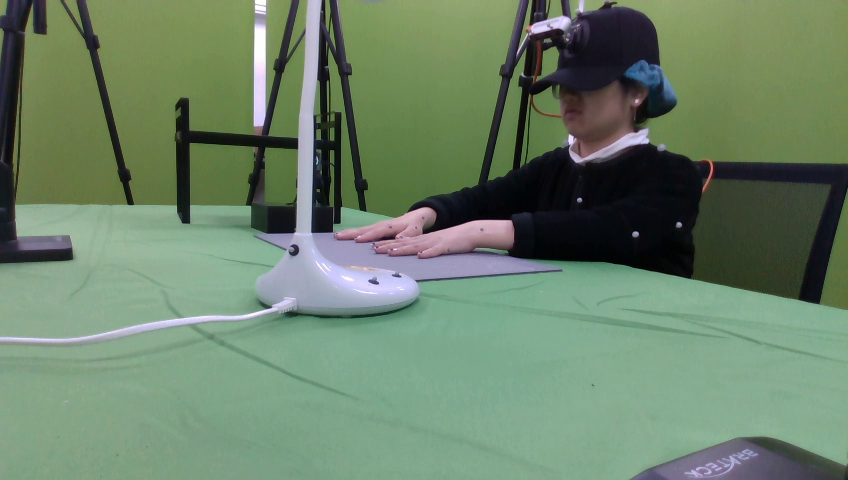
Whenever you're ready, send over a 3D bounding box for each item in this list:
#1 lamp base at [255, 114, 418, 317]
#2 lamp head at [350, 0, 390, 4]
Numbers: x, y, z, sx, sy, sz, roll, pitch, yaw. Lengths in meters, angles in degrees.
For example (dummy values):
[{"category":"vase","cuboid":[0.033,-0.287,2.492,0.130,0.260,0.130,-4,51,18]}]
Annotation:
[{"category":"lamp base","cuboid":[-0.086,-0.027,0.577,0.160,0.180,0.179,4,10,16]},{"category":"lamp head","cuboid":[-0.053,-0.313,0.597,0.112,0.112,0.123,6,-28,25]}]
